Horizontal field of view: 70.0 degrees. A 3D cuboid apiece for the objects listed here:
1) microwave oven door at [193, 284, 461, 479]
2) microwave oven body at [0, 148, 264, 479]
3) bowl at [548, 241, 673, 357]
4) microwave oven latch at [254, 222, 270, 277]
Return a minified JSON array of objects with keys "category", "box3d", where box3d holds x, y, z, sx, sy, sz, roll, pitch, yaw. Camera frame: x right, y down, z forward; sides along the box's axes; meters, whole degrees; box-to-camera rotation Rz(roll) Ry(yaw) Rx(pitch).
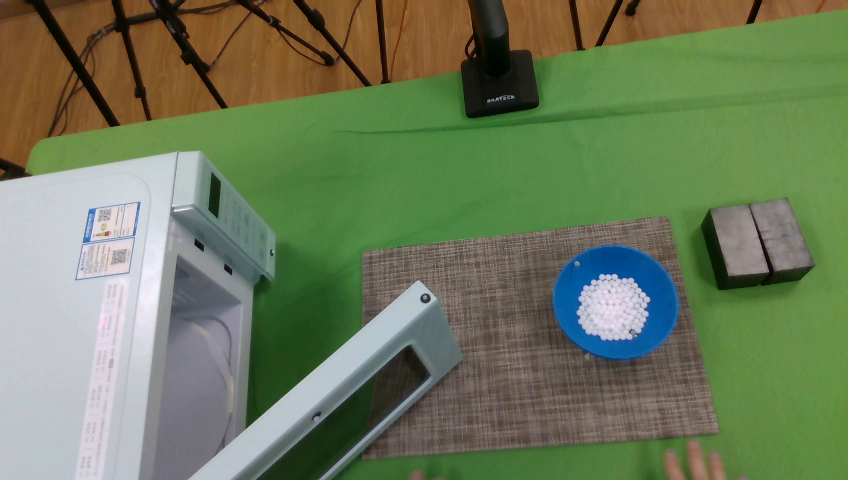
[{"category":"microwave oven door","box3d":[-0.112,0.211,0.685,0.355,0.246,0.039,-41,65,-10]},{"category":"microwave oven body","box3d":[-0.397,0.153,0.767,0.326,0.262,0.438,-8,65,6]},{"category":"bowl","box3d":[0.237,0.086,0.787,0.151,0.077,0.150,-4,65,9]},{"category":"microwave oven latch","box3d":[-0.249,0.014,0.912,0.030,0.030,0.078,-8,65,6]}]
